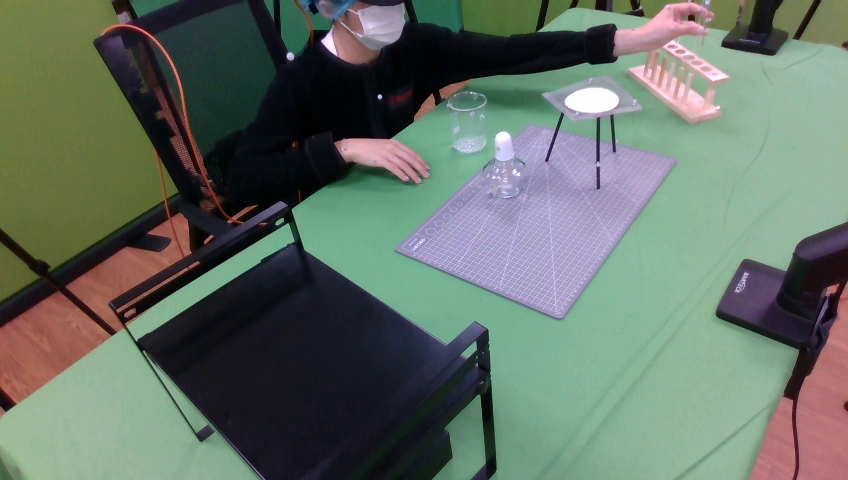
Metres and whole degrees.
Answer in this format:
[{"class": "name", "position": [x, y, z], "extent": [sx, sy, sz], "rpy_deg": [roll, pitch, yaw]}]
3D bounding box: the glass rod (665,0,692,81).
[{"class": "glass rod", "position": [0.524, -0.419, 1.240], "extent": [0.008, 0.200, 0.008], "rpy_deg": [1, 42, 0]}]

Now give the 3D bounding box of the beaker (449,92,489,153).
[{"class": "beaker", "position": [0.091, -0.228, 1.177], "extent": [0.073, 0.101, 0.084], "rpy_deg": [15, 45, 24]}]

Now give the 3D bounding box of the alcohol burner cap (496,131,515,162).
[{"class": "alcohol burner cap", "position": [0.135, -0.160, 1.019], "extent": [0.034, 0.048, 0.033], "rpy_deg": [-7, 38, 6]}]

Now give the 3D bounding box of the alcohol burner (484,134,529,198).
[{"class": "alcohol burner", "position": [0.141, -0.133, 1.041], "extent": [0.078, 0.119, 0.077], "rpy_deg": [-5, 42, 5]}]

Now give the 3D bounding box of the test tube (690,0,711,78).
[{"class": "test tube", "position": [0.531, -0.385, 1.163], "extent": [0.017, 0.151, 0.017], "rpy_deg": [-4, 35, 3]}]

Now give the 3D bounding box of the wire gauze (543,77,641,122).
[{"class": "wire gauze", "position": [0.282, -0.236, 1.020], "extent": [0.125, 0.011, 0.120], "rpy_deg": [-15, 40, -6]}]

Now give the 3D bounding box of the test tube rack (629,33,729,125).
[{"class": "test tube rack", "position": [0.516, -0.337, 1.247], "extent": [0.067, 0.085, 0.240], "rpy_deg": [-14, 41, -7]}]

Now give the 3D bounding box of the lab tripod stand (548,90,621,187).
[{"class": "lab tripod stand", "position": [0.289, -0.184, 1.062], "extent": [0.148, 0.132, 0.147], "rpy_deg": [-6, 41, 6]}]
